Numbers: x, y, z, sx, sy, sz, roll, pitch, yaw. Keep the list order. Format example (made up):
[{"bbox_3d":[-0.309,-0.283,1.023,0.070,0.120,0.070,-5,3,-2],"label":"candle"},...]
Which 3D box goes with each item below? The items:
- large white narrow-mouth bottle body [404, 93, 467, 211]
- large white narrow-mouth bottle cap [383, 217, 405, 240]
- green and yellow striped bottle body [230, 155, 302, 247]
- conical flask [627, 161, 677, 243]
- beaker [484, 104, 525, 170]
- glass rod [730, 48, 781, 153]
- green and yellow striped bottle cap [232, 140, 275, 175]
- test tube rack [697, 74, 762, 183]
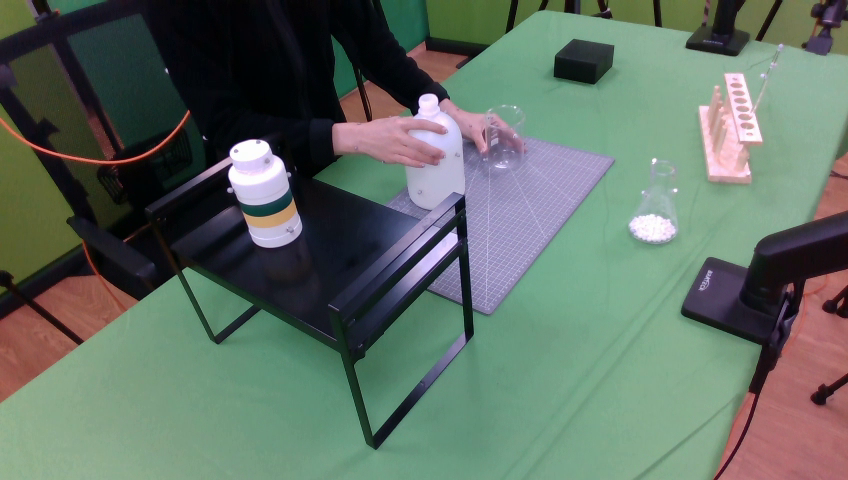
[{"bbox_3d":[0.017,-0.152,1.018,0.102,0.195,0.101,-4,39,4],"label":"large white narrow-mouth bottle body"},{"bbox_3d":[-0.051,-0.019,1.004,0.038,0.024,0.037,-4,39,4],"label":"large white narrow-mouth bottle cap"},{"bbox_3d":[-0.188,-0.055,0.714,0.063,0.120,0.063,-4,41,4],"label":"green and yellow striped bottle body"},{"bbox_3d":[0.355,-0.061,0.921,0.075,0.122,0.075,-4,41,4],"label":"conical flask"},{"bbox_3d":[0.151,-0.187,1.109,0.084,0.101,0.073,-37,51,-27],"label":"beaker"},{"bbox_3d":[0.554,-0.228,1.015,0.008,0.200,0.008,1,44,-1],"label":"glass rod"},{"bbox_3d":[-0.192,-0.093,0.680,0.045,0.020,0.045,-5,39,5],"label":"green and yellow striped bottle cap"},{"bbox_3d":[0.547,-0.208,1.095,0.066,0.085,0.242,5,42,15],"label":"test tube rack"}]
